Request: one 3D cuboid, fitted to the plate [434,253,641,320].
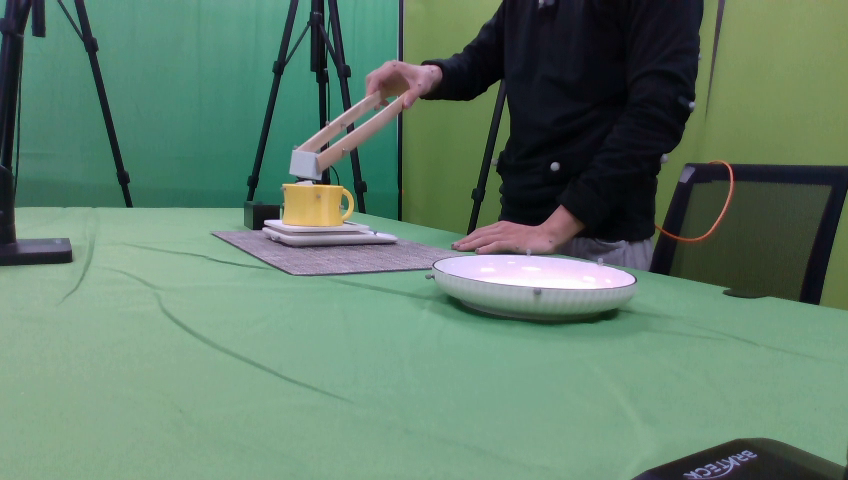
[{"bbox_3d":[0.114,0.047,0.626,0.208,0.039,0.207,2,7,0],"label":"plate"}]

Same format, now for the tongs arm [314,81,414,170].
[{"bbox_3d":[-0.085,-0.197,0.987,0.028,0.028,0.388,5,29,20],"label":"tongs arm"}]

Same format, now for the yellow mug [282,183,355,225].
[{"bbox_3d":[-0.172,-0.061,1.009,0.131,0.064,0.099,-2,7,-41],"label":"yellow mug"}]

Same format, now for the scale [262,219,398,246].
[{"bbox_3d":[-0.160,-0.016,1.028,0.202,0.031,0.148,-1,9,-32],"label":"scale"}]

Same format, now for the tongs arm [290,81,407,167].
[{"bbox_3d":[-0.109,-0.201,0.995,0.050,0.026,0.385,6,30,15],"label":"tongs arm"}]
